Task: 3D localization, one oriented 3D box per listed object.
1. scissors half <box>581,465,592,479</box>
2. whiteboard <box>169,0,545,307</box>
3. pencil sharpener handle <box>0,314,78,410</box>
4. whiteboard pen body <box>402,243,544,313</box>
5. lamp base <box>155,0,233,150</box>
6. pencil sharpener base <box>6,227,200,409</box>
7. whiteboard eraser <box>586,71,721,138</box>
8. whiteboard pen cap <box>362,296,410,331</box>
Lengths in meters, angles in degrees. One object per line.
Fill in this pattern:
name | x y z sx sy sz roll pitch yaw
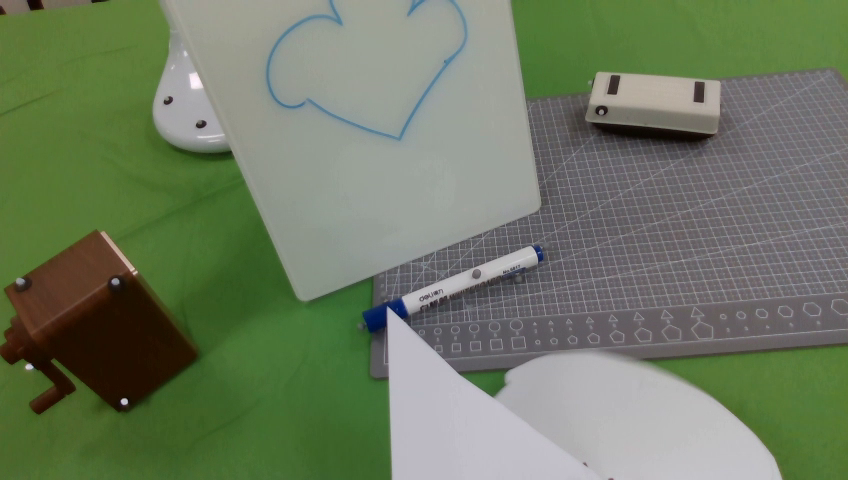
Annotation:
scissors half | 0.101 0.177 0.245 0.013 0.040 0.174 -25 76 12
whiteboard | -0.052 -0.142 0.472 0.217 0.308 0.142 -21 31 -8
pencil sharpener handle | -0.255 0.081 0.390 0.030 0.068 0.035 -39 43 -22
whiteboard pen body | 0.026 0.033 0.458 0.141 0.017 0.017 -21 51 -8
lamp base | -0.223 -0.206 0.592 0.177 0.182 0.160 29 60 31
pencil sharpener base | -0.219 0.058 0.421 0.076 0.108 0.061 -39 56 -22
whiteboard eraser | 0.208 -0.123 0.551 0.112 0.042 0.055 10 53 15
whiteboard pen cap | -0.028 0.054 0.449 0.033 0.018 0.018 -22 51 -9
